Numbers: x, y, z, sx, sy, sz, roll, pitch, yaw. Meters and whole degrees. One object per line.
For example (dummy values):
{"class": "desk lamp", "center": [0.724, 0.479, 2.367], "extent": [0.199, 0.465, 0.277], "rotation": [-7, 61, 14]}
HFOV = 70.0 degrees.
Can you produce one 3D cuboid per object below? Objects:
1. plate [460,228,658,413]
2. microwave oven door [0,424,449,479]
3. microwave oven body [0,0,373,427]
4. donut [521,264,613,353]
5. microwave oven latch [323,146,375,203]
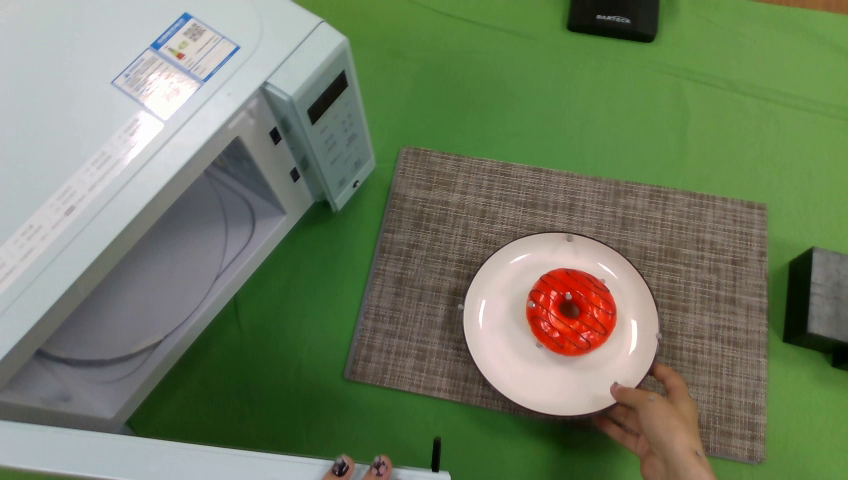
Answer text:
{"class": "plate", "center": [0.144, 0.086, 0.663], "extent": [0.209, 0.038, 0.207], "rotation": [-3, 65, 6]}
{"class": "microwave oven door", "center": [-0.156, 0.191, 0.517], "extent": [0.356, 0.245, 0.039], "rotation": [5, 69, 3]}
{"class": "microwave oven body", "center": [-0.318, -0.063, 0.619], "extent": [0.324, 0.262, 0.440], "rotation": [34, 75, 12]}
{"class": "donut", "center": [0.154, 0.073, 0.655], "extent": [0.099, 0.048, 0.098], "rotation": [-2, 67, 5]}
{"class": "microwave oven latch", "center": [-0.090, -0.084, 0.725], "extent": [0.030, 0.030, 0.079], "rotation": [34, 75, 12]}
